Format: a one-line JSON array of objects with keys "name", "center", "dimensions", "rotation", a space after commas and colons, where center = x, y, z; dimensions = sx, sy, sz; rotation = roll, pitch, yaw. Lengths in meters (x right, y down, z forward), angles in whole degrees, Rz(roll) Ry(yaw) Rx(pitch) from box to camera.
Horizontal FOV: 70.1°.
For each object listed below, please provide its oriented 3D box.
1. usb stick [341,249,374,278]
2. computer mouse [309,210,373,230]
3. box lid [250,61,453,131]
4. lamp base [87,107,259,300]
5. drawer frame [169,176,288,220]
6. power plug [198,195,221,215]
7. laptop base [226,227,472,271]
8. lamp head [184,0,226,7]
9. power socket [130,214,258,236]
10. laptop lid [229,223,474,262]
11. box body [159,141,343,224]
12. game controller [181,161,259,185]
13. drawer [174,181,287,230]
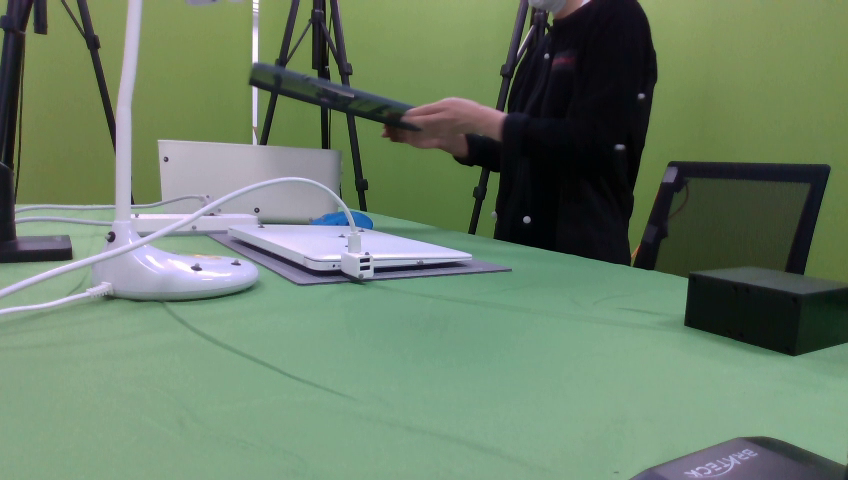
[{"name": "usb stick", "center": [-0.079, 0.026, 0.686], "dimensions": [0.021, 0.027, 0.059], "rotation": [-7, 8, -31]}, {"name": "computer mouse", "center": [-0.157, -0.034, 1.139], "dimensions": [0.118, 0.041, 0.062], "rotation": [-6, 13, -28]}, {"name": "box lid", "center": [-0.150, -0.270, 1.179], "dimensions": [0.373, 0.015, 0.262], "rotation": [12, 2, -19]}, {"name": "lamp base", "center": [-0.254, -0.039, 0.603], "dimensions": [0.160, 0.180, 0.179], "rotation": [5, 10, 18]}, {"name": "drawer frame", "center": [-0.416, -0.095, 1.317], "dimensions": [0.214, 0.082, 0.201], "rotation": [-5, 6, -9]}, {"name": "power plug", "center": [-0.386, -0.055, 1.088], "dimensions": [0.035, 0.052, 0.072], "rotation": [-2, 7, -23]}, {"name": "laptop base", "center": [-0.124, 0.011, 0.888], "dimensions": [0.237, 0.023, 0.352], "rotation": [2, 6, -35]}, {"name": "lamp head", "center": [-0.229, -0.320, 0.627], "dimensions": [0.112, 0.112, 0.123], "rotation": [6, -35, 26]}, {"name": "power socket", "center": [-0.397, -0.028, 1.048], "dimensions": [0.228, 0.032, 0.072], "rotation": [-3, 7, -35]}, {"name": "laptop lid", "center": [-0.121, 0.000, 0.888], "dimensions": [0.243, 0.013, 0.355], "rotation": [1, 7, -33]}, {"name": "box body", "center": [-0.365, -0.128, 1.337], "dimensions": [0.365, 0.160, 0.253], "rotation": [2, 7, -8]}, {"name": "game controller", "center": [-0.444, -0.144, 1.306], "dimensions": [0.156, 0.051, 0.096], "rotation": [-2, 5, -34]}, {"name": "drawer", "center": [-0.412, -0.077, 1.324], "dimensions": [0.212, 0.073, 0.194], "rotation": [-9, 10, -8]}]
